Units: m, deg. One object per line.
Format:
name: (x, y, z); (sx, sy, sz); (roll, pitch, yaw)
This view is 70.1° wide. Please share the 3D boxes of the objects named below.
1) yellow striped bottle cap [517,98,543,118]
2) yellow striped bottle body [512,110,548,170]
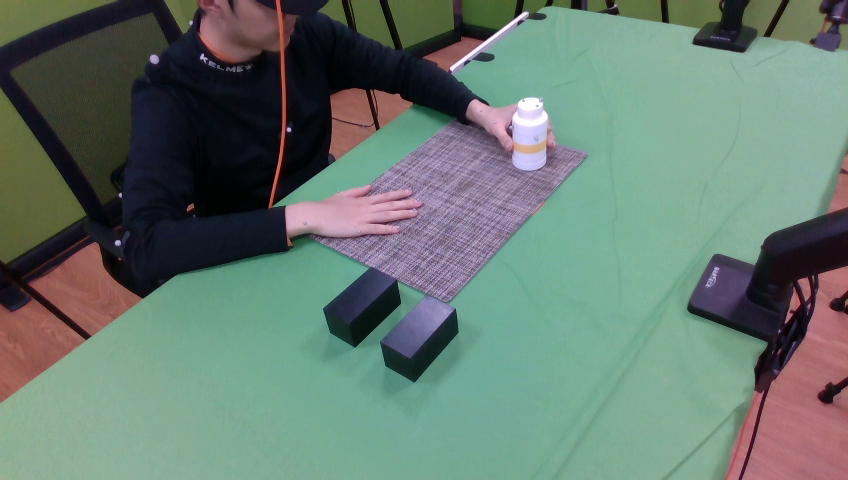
yellow striped bottle cap: (0.184, -0.229, 1.048); (0.044, 0.019, 0.044); (-3, 38, 3)
yellow striped bottle body: (0.189, -0.191, 1.082); (0.063, 0.121, 0.062); (-4, 40, 4)
